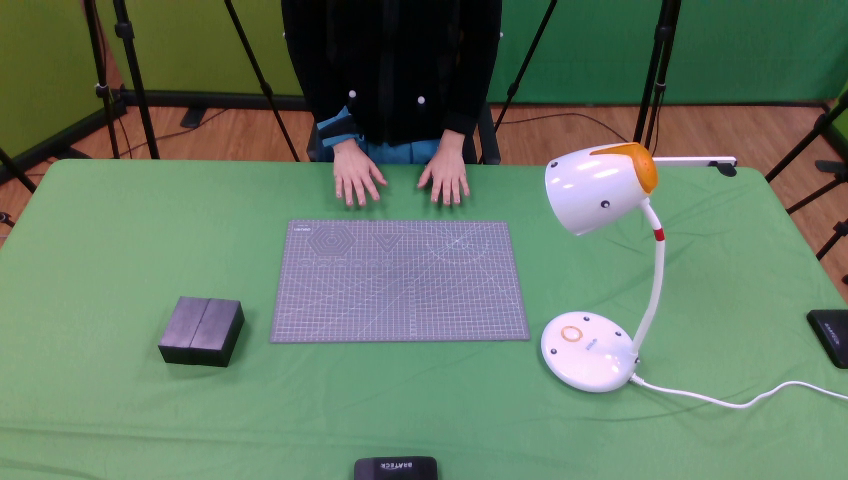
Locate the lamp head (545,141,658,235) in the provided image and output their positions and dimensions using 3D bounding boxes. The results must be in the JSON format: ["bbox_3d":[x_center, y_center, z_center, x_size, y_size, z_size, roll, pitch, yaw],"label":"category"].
[{"bbox_3d":[0.237,-0.072,0.783,0.123,0.113,0.112,-16,33,37],"label":"lamp head"}]

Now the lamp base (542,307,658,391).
[{"bbox_3d":[0.296,0.138,0.975,0.178,0.181,0.160,28,51,18],"label":"lamp base"}]
